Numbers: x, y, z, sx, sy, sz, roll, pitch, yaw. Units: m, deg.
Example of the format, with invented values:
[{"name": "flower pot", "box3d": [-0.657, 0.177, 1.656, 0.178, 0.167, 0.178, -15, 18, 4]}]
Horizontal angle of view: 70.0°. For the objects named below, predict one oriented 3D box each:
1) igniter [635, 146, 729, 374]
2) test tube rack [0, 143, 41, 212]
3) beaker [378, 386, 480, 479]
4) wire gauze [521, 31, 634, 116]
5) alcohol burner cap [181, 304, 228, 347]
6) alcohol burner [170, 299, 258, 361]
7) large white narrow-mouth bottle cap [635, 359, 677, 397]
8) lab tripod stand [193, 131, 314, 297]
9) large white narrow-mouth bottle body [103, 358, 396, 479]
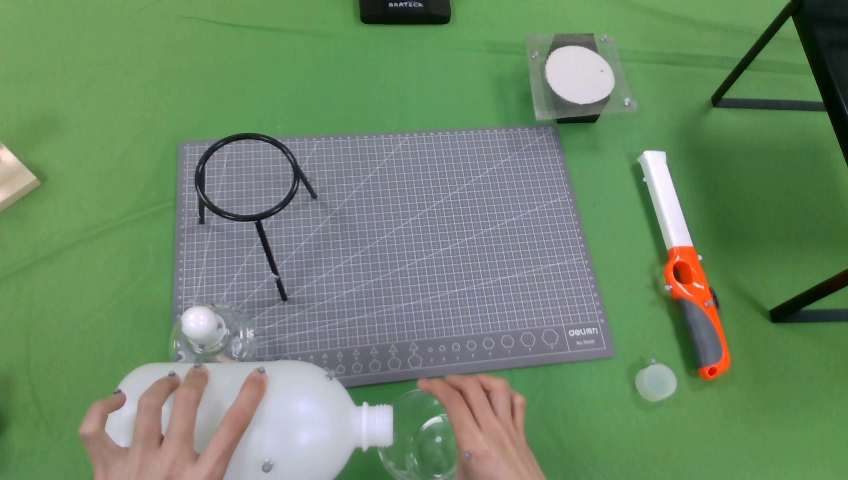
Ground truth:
[{"name": "igniter", "box3d": [0.291, 0.015, 0.689, 0.057, 0.025, 0.274, 0, 66, -18]}, {"name": "test tube rack", "box3d": [-0.513, -0.020, 0.578, 0.066, 0.085, 0.242, 41, 68, 12]}, {"name": "beaker", "box3d": [0.006, 0.171, 0.527, 0.083, 0.101, 0.073, 14, 71, 19]}, {"name": "wire gauze", "box3d": [0.182, -0.204, 0.731, 0.122, 0.011, 0.124, -3, 67, -8]}, {"name": "alcohol burner cap", "box3d": [-0.189, 0.072, 0.517, 0.034, 0.048, 0.033, 2, 71, -6]}, {"name": "alcohol burner", "box3d": [-0.193, 0.085, 0.550, 0.078, 0.120, 0.077, 3, 64, -7]}, {"name": "large white narrow-mouth bottle cap", "box3d": [0.241, 0.144, 0.631, 0.038, 0.024, 0.037, 2, 65, -4]}, {"name": "lab tripod stand", "box3d": [-0.162, -0.030, 0.594, 0.149, 0.132, 0.147, 3, 66, -7]}, {"name": "large white narrow-mouth bottle body", "box3d": [-0.119, 0.139, 0.449, 0.195, 0.102, 0.101, -1, 66, -3]}]
